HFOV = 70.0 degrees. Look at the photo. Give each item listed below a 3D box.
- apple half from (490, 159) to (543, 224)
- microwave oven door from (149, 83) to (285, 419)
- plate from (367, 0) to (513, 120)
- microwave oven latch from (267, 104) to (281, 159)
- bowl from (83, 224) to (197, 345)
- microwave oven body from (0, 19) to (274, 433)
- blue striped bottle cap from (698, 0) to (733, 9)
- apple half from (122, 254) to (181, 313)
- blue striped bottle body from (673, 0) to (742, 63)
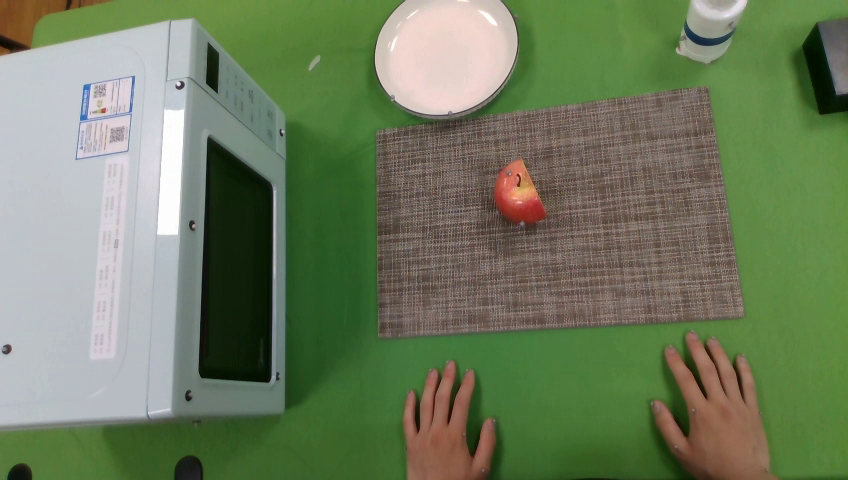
[{"bbox_3d":[0.113,-0.055,0.770,0.053,0.075,0.080,-25,75,9],"label":"apple half"},{"bbox_3d":[-0.235,0.029,0.723,0.039,0.245,0.353,-7,74,11],"label":"microwave oven door"},{"bbox_3d":[0.024,-0.263,0.867,0.207,0.039,0.206,-3,75,12],"label":"plate"},{"bbox_3d":[-0.223,-0.156,0.875,0.030,0.030,0.078,-7,75,10],"label":"microwave oven latch"},{"bbox_3d":[-0.352,0.059,0.788,0.151,0.077,0.151,-2,85,17],"label":"bowl"},{"bbox_3d":[-0.378,0.007,0.766,0.325,0.262,0.439,-7,75,10],"label":"microwave oven body"},{"bbox_3d":[0.341,-0.292,0.704,0.044,0.021,0.044,-3,78,12],"label":"blue striped bottle cap"},{"bbox_3d":[-0.355,0.056,0.778,0.081,0.033,0.081,0,88,5],"label":"apple half"},{"bbox_3d":[0.352,-0.278,0.752,0.063,0.121,0.062,-3,74,12],"label":"blue striped bottle body"}]
